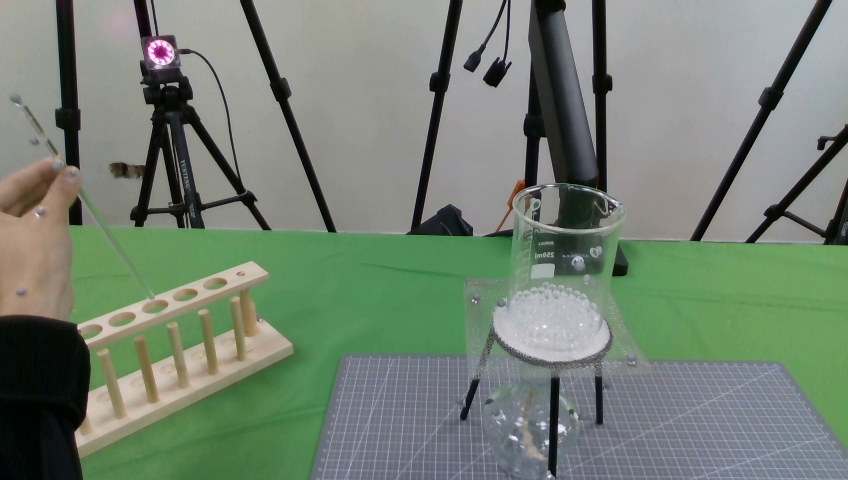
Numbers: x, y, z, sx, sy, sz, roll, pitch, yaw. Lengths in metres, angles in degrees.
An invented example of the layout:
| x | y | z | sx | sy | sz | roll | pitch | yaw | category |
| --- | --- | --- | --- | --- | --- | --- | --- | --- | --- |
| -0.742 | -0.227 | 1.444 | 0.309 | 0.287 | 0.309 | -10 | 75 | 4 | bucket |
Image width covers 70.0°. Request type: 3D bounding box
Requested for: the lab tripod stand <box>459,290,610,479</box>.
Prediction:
| x | y | z | sx | sy | sz | roll | pitch | yaw | category |
| --- | --- | --- | --- | --- | --- | --- | --- | --- | --- |
| 0.094 | 0.120 | 0.480 | 0.148 | 0.132 | 0.147 | 2 | 30 | -1 | lab tripod stand |

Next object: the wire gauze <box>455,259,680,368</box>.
| x | y | z | sx | sy | sz | roll | pitch | yaw | category |
| --- | --- | --- | --- | --- | --- | --- | --- | --- | --- |
| 0.098 | 0.050 | 0.437 | 0.125 | 0.011 | 0.120 | -5 | 26 | -19 | wire gauze |

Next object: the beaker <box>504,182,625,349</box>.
| x | y | z | sx | sy | sz | roll | pitch | yaw | category |
| --- | --- | --- | --- | --- | --- | --- | --- | --- | --- |
| 0.096 | 0.018 | 0.426 | 0.084 | 0.101 | 0.073 | -9 | 32 | -18 | beaker |

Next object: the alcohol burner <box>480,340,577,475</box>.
| x | y | z | sx | sy | sz | roll | pitch | yaw | category |
| --- | --- | --- | --- | --- | --- | --- | --- | --- | --- |
| 0.085 | 0.128 | 0.484 | 0.078 | 0.120 | 0.077 | 2 | 28 | -1 | alcohol burner |

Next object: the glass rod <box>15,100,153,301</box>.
| x | y | z | sx | sy | sz | roll | pitch | yaw | category |
| --- | --- | --- | --- | --- | --- | --- | --- | --- | --- |
| -0.265 | -0.021 | 0.484 | 0.008 | 0.202 | 0.008 | -7 | 40 | 6 | glass rod |

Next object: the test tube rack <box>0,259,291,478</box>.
| x | y | z | sx | sy | sz | roll | pitch | yaw | category |
| --- | --- | --- | --- | --- | --- | --- | --- | --- | --- |
| -0.249 | 0.106 | 0.558 | 0.243 | 0.086 | 0.066 | -23 | 36 | -36 | test tube rack |
